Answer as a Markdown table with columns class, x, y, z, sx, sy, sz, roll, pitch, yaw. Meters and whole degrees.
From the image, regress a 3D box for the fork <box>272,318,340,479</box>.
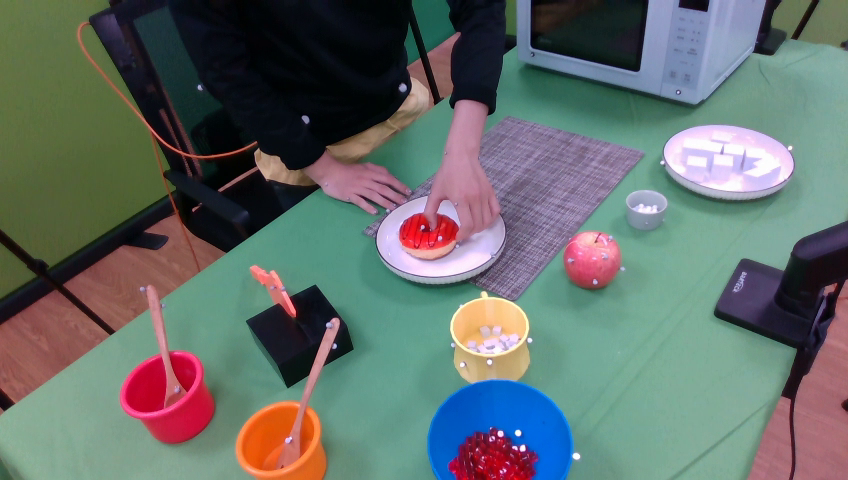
| class | x | y | z | sx | sy | sz | roll | pitch | yaw |
| --- | --- | --- | --- | --- | --- | --- | --- | --- | --- |
| fork | -0.131 | 0.186 | 0.676 | 0.028 | 0.019 | 0.207 | 18 | 90 | 28 |

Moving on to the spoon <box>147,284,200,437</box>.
| class | x | y | z | sx | sy | sz | roll | pitch | yaw |
| --- | --- | --- | --- | --- | --- | --- | --- | --- | --- |
| spoon | -0.318 | 0.148 | 0.754 | 0.042 | 0.021 | 0.193 | -15 | 86 | -6 |

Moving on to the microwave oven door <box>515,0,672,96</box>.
| class | x | y | z | sx | sy | sz | roll | pitch | yaw |
| --- | --- | --- | --- | --- | --- | --- | --- | --- | --- |
| microwave oven door | 0.344 | -0.455 | 1.259 | 0.353 | 0.245 | 0.039 | 26 | 51 | 33 |

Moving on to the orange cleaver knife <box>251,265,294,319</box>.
| class | x | y | z | sx | sy | sz | roll | pitch | yaw |
| --- | --- | --- | --- | --- | --- | --- | --- | --- | --- |
| orange cleaver knife | -0.221 | 0.073 | 0.876 | 0.012 | 0.077 | 0.210 | -23 | 12 | -22 |

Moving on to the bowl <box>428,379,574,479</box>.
| class | x | y | z | sx | sy | sz | roll | pitch | yaw |
| --- | --- | --- | --- | --- | --- | --- | --- | --- | --- |
| bowl | 0.082 | 0.233 | 0.644 | 0.151 | 0.077 | 0.150 | -4 | 39 | 4 |

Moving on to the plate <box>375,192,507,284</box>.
| class | x | y | z | sx | sy | sz | roll | pitch | yaw |
| --- | --- | --- | --- | --- | --- | --- | --- | --- | --- |
| plate | 0.028 | 0.000 | 0.952 | 0.209 | 0.038 | 0.208 | -4 | 40 | 4 |

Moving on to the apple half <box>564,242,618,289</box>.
| class | x | y | z | sx | sy | sz | roll | pitch | yaw |
| --- | --- | --- | --- | --- | --- | --- | --- | --- | --- |
| apple half | 0.229 | 0.044 | 0.848 | 0.081 | 0.081 | 0.033 | 16 | 41 | 26 |

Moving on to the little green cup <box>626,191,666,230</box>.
| class | x | y | z | sx | sy | sz | roll | pitch | yaw |
| --- | --- | --- | --- | --- | --- | --- | --- | --- | --- |
| little green cup | 0.352 | -0.046 | 0.963 | 0.061 | 0.039 | 0.061 | -4 | 40 | 4 |

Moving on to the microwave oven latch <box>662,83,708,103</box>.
| class | x | y | z | sx | sy | sz | roll | pitch | yaw |
| --- | --- | --- | --- | --- | --- | --- | --- | --- | --- |
| microwave oven latch | 0.518 | -0.297 | 1.205 | 0.078 | 0.029 | 0.030 | 29 | 53 | 36 |

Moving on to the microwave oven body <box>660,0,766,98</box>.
| class | x | y | z | sx | sy | sz | roll | pitch | yaw |
| --- | --- | --- | --- | --- | --- | --- | --- | --- | --- |
| microwave oven body | 0.473 | -0.513 | 1.317 | 0.438 | 0.261 | 0.327 | 26 | 51 | 34 |

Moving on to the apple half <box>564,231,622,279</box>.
| class | x | y | z | sx | sy | sz | roll | pitch | yaw |
| --- | --- | --- | --- | --- | --- | --- | --- | --- | --- |
| apple half | 0.248 | 0.021 | 0.874 | 0.080 | 0.075 | 0.053 | 13 | 40 | 29 |

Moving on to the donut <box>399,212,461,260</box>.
| class | x | y | z | sx | sy | sz | roll | pitch | yaw |
| --- | --- | --- | --- | --- | --- | --- | --- | --- | --- |
| donut | 0.009 | -0.007 | 0.948 | 0.099 | 0.048 | 0.098 | -3 | 38 | 3 |

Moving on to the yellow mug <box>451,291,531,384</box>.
| class | x | y | z | sx | sy | sz | roll | pitch | yaw |
| --- | --- | --- | --- | --- | --- | --- | --- | --- | --- |
| yellow mug | 0.085 | 0.120 | 0.786 | 0.100 | 0.064 | 0.130 | -7 | 39 | 1 |

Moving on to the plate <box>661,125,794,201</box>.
| class | x | y | z | sx | sy | sz | roll | pitch | yaw |
| --- | --- | --- | --- | --- | --- | --- | --- | --- | --- |
| plate | 0.514 | -0.128 | 1.035 | 0.207 | 0.039 | 0.206 | -4 | 40 | 4 |
